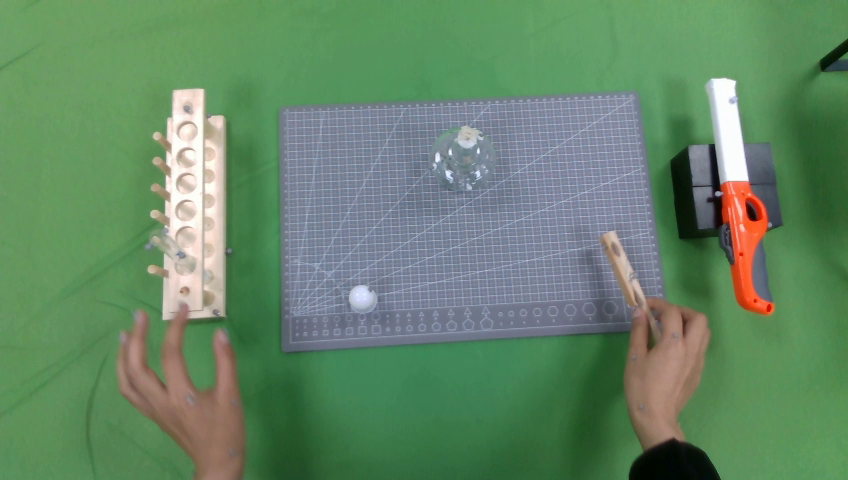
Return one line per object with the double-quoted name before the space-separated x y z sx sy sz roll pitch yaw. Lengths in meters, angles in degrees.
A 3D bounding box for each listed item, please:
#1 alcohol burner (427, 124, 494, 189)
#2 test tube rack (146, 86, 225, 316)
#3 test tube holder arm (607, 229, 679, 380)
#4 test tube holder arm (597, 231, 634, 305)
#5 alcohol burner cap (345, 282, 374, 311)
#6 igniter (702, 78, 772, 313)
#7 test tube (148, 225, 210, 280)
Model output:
"alcohol burner" 0.042 -0.100 0.684 0.078 0.119 0.077 0 79 0
"test tube rack" -0.268 -0.040 0.677 0.067 0.085 0.241 -3 79 -2
"test tube holder arm" 0.241 0.071 0.677 0.013 0.015 0.177 -21 78 -9
"test tube holder arm" 0.220 0.032 0.686 0.010 0.015 0.087 -20 77 -8
"alcohol burner cap" -0.074 0.062 0.684 0.034 0.048 0.033 1 78 -3
"igniter" 0.351 -0.054 0.685 0.057 0.025 0.275 -1 76 -5
"test tube" -0.245 0.016 0.616 0.017 0.151 0.017 1 72 -3
